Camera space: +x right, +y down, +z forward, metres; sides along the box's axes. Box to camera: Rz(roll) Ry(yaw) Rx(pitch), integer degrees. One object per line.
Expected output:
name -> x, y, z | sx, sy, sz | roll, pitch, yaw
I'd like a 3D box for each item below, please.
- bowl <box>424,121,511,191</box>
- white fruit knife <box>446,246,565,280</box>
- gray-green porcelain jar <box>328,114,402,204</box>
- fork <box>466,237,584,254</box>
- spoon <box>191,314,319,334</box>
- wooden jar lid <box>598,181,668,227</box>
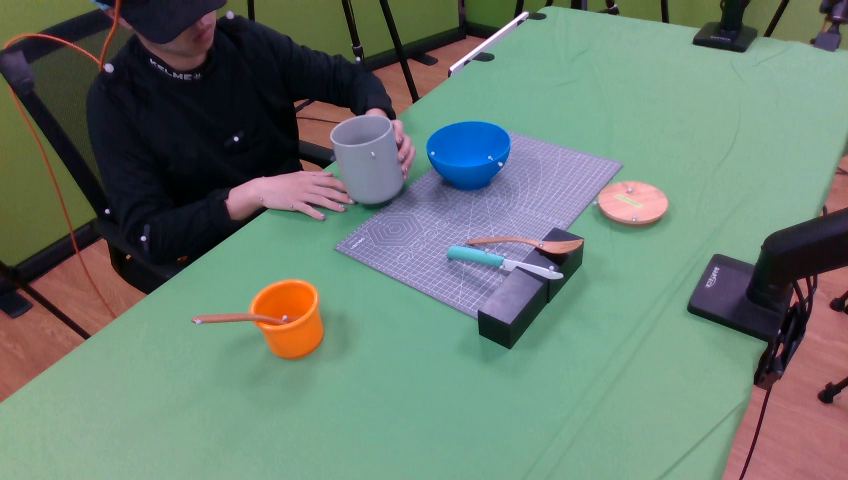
bowl -> 0.080, -0.141, 1.074 | 0.151, 0.077, 0.150 | -4, 40, 4
white fruit knife -> 0.111, 0.033, 0.868 | 0.205, 0.027, 0.016 | 11, 43, 40
gray-green porcelain jar -> -0.096, -0.133, 1.030 | 0.106, 0.127, 0.105 | -7, 38, 6
fork -> 0.142, 0.005, 0.894 | 0.205, 0.019, 0.028 | 4, 43, 41
spoon -> -0.212, 0.105, 0.780 | 0.041, 0.195, 0.021 | 30, 97, 37
wooden jar lid -> 0.340, -0.058, 0.988 | 0.108, 0.021, 0.108 | -5, 41, 5
